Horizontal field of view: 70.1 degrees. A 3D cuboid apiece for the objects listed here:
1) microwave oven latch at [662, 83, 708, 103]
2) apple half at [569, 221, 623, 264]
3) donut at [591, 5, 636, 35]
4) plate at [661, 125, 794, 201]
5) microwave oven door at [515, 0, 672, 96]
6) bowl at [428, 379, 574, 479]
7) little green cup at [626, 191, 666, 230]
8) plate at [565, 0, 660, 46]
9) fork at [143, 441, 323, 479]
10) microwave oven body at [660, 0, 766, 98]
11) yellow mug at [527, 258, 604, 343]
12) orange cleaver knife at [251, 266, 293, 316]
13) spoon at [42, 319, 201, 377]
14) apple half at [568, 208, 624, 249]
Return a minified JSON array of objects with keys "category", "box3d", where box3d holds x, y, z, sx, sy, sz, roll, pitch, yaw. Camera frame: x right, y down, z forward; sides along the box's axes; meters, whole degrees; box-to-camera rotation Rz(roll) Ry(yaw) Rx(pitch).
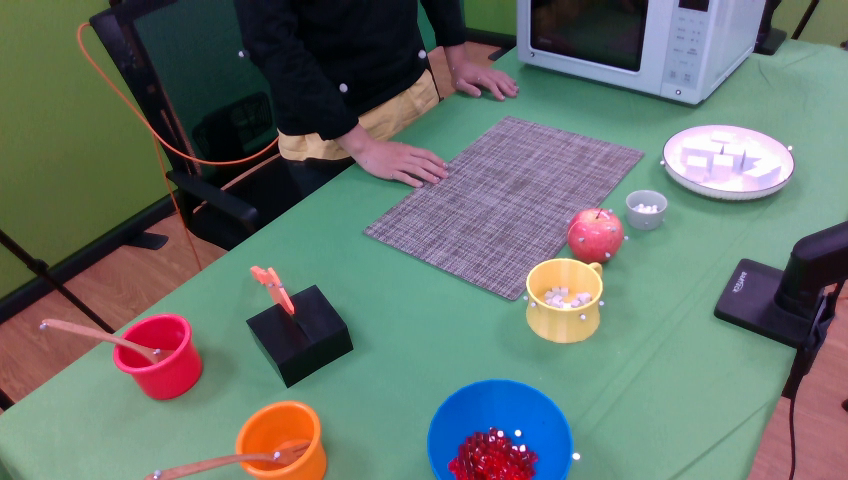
[{"category":"microwave oven latch","box3d":[0.517,-0.296,1.204,0.078,0.029,0.030,27,52,35]},{"category":"apple half","box3d":[0.251,0.010,0.884,0.081,0.081,0.032,3,37,12]},{"category":"donut","box3d":[0.427,-0.498,1.364,0.099,0.048,0.098,-5,38,4]},{"category":"plate","box3d":[0.513,-0.128,1.035,0.207,0.039,0.206,-4,40,4]},{"category":"microwave oven door","box3d":[0.343,-0.454,1.259,0.353,0.245,0.039,26,51,33]},{"category":"bowl","box3d":[0.082,0.233,0.644,0.151,0.077,0.150,-4,40,4]},{"category":"little green cup","box3d":[0.352,-0.046,0.963,0.061,0.039,0.061,-4,40,4]},{"category":"plate","box3d":[0.427,-0.490,1.376,0.209,0.038,0.208,-5,40,5]},{"category":"fork","box3d":[-0.189,0.231,0.631,0.028,0.018,0.209,36,13,37]},{"category":"microwave oven body","box3d":[0.472,-0.513,1.317,0.438,0.261,0.327,26,51,34]},{"category":"yellow mug","box3d":[0.201,0.073,0.825,0.131,0.064,0.099,-32,46,-27]},{"category":"orange cleaver knife","box3d":[-0.221,0.071,0.873,0.012,0.077,0.210,-25,11,-21]},{"category":"spoon","box3d":[-0.385,0.135,0.779,0.195,0.021,0.041,29,37,-26]},{"category":"apple half","box3d":[0.259,-0.014,0.914,0.080,0.075,0.053,0,36,15]}]
